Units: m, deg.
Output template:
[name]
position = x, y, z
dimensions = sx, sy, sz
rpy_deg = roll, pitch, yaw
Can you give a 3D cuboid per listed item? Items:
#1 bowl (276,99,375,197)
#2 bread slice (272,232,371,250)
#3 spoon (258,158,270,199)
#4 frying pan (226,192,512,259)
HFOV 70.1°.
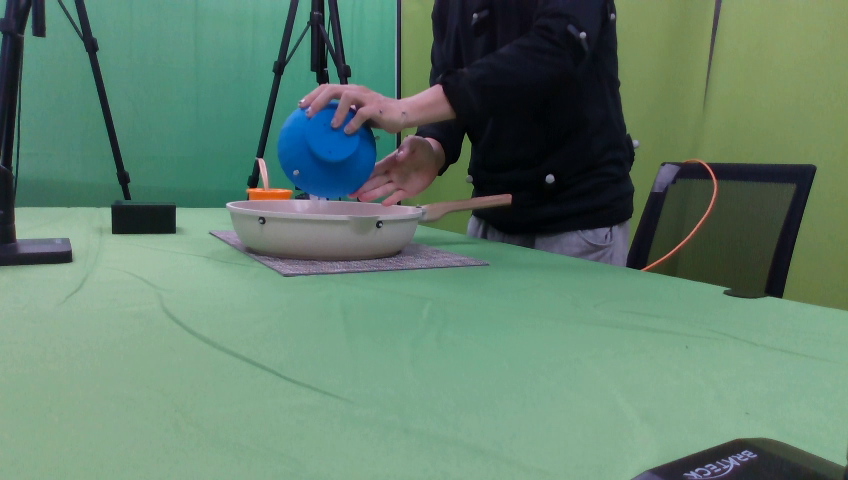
[bowl]
position = -0.139, -0.144, 0.885
dimensions = 0.152, 0.151, 0.076
rpy_deg = 1, -9, -15
[bread slice]
position = -0.148, 0.001, 0.929
dimensions = 0.133, 0.018, 0.107
rpy_deg = 5, 7, 38
[spoon]
position = -0.332, -0.107, 1.269
dimensions = 0.042, 0.021, 0.193
rpy_deg = 1, 52, -24
[frying pan]
position = -0.058, -0.041, 0.975
dimensions = 0.490, 0.102, 0.305
rpy_deg = -11, 13, -26
